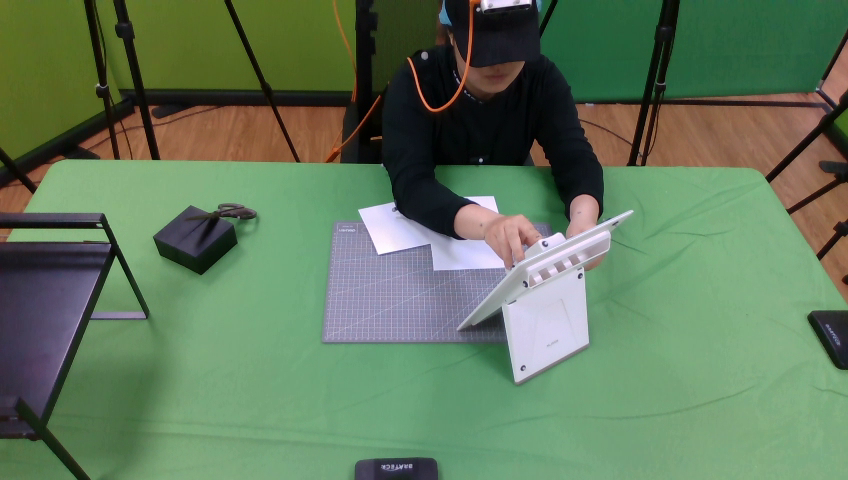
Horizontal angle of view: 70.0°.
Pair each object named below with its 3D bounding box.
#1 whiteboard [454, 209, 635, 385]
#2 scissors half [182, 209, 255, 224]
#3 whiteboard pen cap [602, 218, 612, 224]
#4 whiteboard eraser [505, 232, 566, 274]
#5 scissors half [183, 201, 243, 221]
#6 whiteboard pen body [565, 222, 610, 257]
[{"bbox_3d":[0.211,0.111,0.954,0.217,0.306,0.143,-21,72,-24],"label":"whiteboard"},{"bbox_3d":[-0.389,-0.042,1.158,0.040,0.013,0.175,39,22,23],"label":"scissors half"},{"bbox_3d":[0.379,-0.031,1.255,0.033,0.018,0.018,-33,56,-30],"label":"whiteboard pen cap"},{"bbox_3d":[0.180,0.032,0.966,0.056,0.113,0.041,-14,69,-31],"label":"whiteboard eraser"},{"bbox_3d":[-0.406,-0.054,1.163,0.040,0.013,0.175,28,18,8],"label":"scissors half"},{"bbox_3d":[0.334,-0.003,1.228,0.141,0.017,0.017,-32,56,-30],"label":"whiteboard pen body"}]
